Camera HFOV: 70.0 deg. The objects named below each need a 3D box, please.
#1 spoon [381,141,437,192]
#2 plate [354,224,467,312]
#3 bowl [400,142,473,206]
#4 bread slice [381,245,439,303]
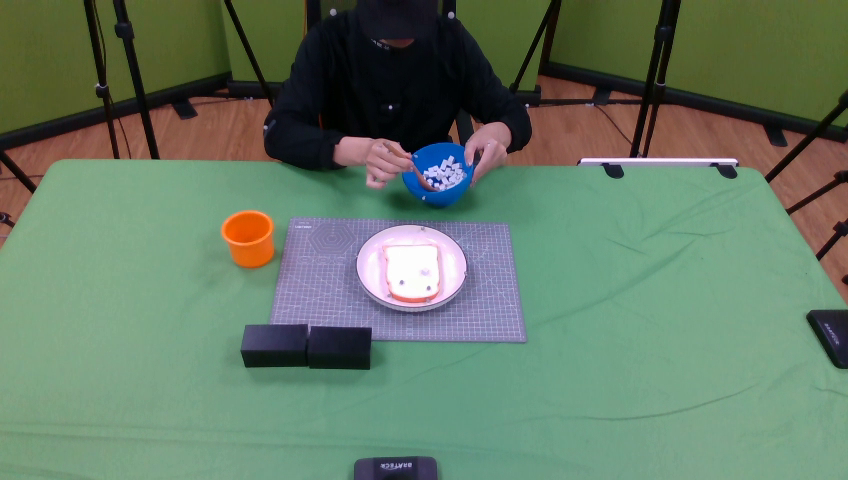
[{"bbox_3d":[-0.026,-0.140,1.181,0.041,0.195,0.021,29,80,43],"label":"spoon"},{"bbox_3d":[-0.025,0.055,1.128,0.209,0.038,0.208,3,46,-2],"label":"plate"},{"bbox_3d":[0.033,-0.124,1.254,0.151,0.077,0.150,-9,49,10],"label":"bowl"},{"bbox_3d":[-0.022,0.061,1.126,0.107,0.018,0.133,-3,45,-8],"label":"bread slice"}]
